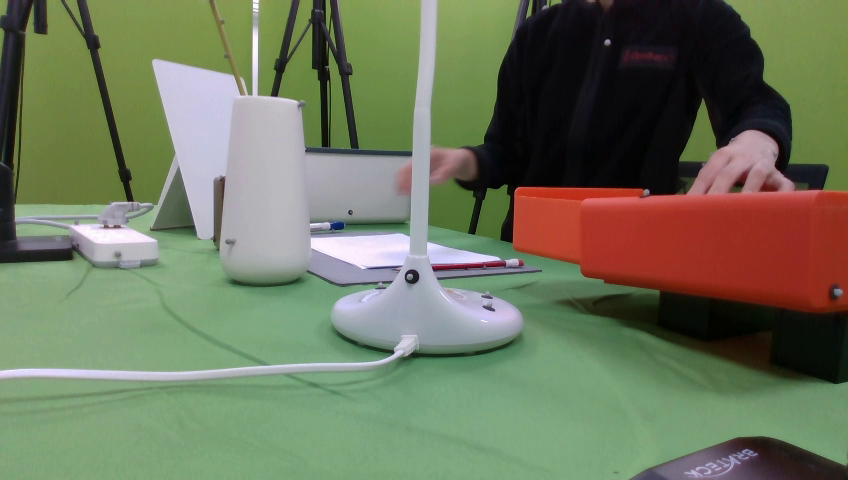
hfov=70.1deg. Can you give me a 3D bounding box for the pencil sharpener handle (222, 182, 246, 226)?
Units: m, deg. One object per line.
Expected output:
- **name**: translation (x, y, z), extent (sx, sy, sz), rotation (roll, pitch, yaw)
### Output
- **pencil sharpener handle**: translation (-0.289, -0.055, 0.912), extent (0.036, 0.067, 0.030), rotation (-3, 9, -29)

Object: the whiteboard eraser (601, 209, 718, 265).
- **whiteboard eraser**: translation (0.250, -0.004, 0.649), extent (0.056, 0.042, 0.112), rotation (-12, 21, -29)

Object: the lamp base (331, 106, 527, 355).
- **lamp base**: translation (0.006, -0.012, 0.478), extent (0.161, 0.180, 0.179), rotation (2, 10, 2)

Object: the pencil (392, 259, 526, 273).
- **pencil**: translation (0.049, 0.035, 0.782), extent (0.195, 0.012, 0.012), rotation (-2, 9, -25)

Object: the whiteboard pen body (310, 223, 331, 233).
- **whiteboard pen body**: translation (-0.207, -0.021, 1.081), extent (0.017, 0.017, 0.141), rotation (9, 10, 41)

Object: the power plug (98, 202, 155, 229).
- **power plug**: translation (-0.416, -0.027, 0.848), extent (0.073, 0.052, 0.035), rotation (0, 8, -28)

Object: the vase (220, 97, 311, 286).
- **vase**: translation (-0.172, -0.052, 0.662), extent (0.098, 0.200, 0.098), rotation (3, 8, 0)

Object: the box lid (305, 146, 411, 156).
- **box lid**: translation (-0.229, -0.200, 1.360), extent (0.373, 0.015, 0.262), rotation (-3, 9, -33)

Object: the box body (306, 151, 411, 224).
- **box body**: translation (-0.230, -0.126, 1.371), extent (0.366, 0.160, 0.253), rotation (-2, 8, -33)

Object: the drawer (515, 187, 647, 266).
- **drawer**: translation (0.229, -0.011, 0.603), extent (0.195, 0.073, 0.210), rotation (-1, 8, -28)

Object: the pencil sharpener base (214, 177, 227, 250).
- **pencil sharpener base**: translation (-0.265, -0.036, 0.870), extent (0.061, 0.107, 0.076), rotation (-2, 8, -29)

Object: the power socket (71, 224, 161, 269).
- **power socket**: translation (-0.408, 0.004, 0.793), extent (0.072, 0.032, 0.225), rotation (-2, 8, -38)

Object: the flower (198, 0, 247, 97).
- **flower**: translation (-0.187, -0.133, 0.648), extent (0.038, 0.362, 0.044), rotation (0, 22, 43)

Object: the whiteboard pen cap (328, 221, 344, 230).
- **whiteboard pen cap**: translation (-0.166, -0.027, 1.124), extent (0.018, 0.018, 0.033), rotation (9, 11, 41)

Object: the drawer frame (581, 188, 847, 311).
- **drawer frame**: translation (0.280, 0.000, 0.511), extent (0.203, 0.082, 0.212), rotation (-1, 3, -28)

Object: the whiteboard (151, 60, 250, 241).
- **whiteboard**: translation (-0.408, -0.139, 1.093), extent (0.143, 0.305, 0.218), rotation (-15, 0, 26)
